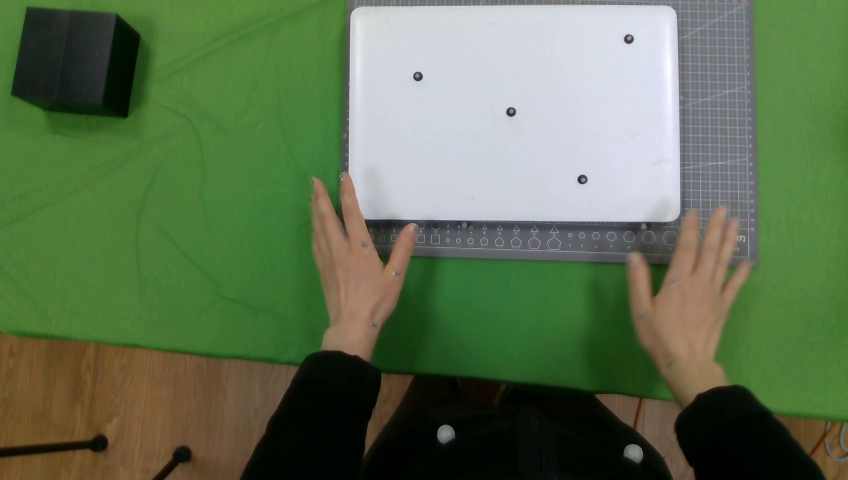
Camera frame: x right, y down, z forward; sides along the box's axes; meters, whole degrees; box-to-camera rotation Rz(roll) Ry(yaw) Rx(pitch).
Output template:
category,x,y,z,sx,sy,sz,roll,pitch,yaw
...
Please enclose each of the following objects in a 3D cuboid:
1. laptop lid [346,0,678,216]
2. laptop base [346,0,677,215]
category,x,y,z,sx,sy,sz,roll,pitch,yaw
laptop lid,0.092,-0.143,0.646,0.357,0.013,0.241,2,88,2
laptop base,0.093,-0.144,0.658,0.354,0.023,0.235,0,89,2
